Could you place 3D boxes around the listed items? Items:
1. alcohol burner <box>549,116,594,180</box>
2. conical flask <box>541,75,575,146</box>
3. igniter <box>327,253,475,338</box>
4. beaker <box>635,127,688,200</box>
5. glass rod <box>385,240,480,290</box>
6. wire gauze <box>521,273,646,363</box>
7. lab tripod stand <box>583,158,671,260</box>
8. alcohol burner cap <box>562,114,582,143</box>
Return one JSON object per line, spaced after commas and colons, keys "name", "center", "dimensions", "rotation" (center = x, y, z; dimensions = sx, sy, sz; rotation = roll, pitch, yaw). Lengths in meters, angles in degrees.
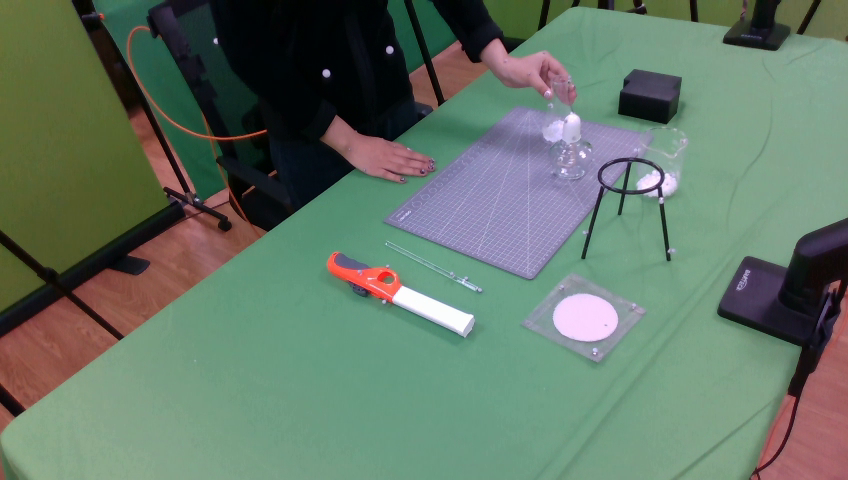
{"name": "alcohol burner", "center": [0.258, -0.166, 1.055], "dimensions": [0.078, 0.120, 0.077], "rotation": [-6, 42, 6]}
{"name": "conical flask", "center": [0.256, -0.245, 1.134], "dimensions": [0.075, 0.122, 0.075], "rotation": [-6, 41, 6]}
{"name": "igniter", "center": [-0.045, 0.077, 0.898], "dimensions": [0.274, 0.025, 0.057], "rotation": [22, 59, 32]}
{"name": "beaker", "center": [0.388, -0.122, 0.994], "dimensions": [0.074, 0.101, 0.083], "rotation": [-8, 40, 2]}
{"name": "glass rod", "center": [0.009, 0.037, 0.950], "dimensions": [0.198, 0.008, 0.008], "rotation": [26, 52, 34]}
{"name": "wire gauze", "center": [0.219, 0.105, 0.830], "dimensions": [0.120, 0.011, 0.125], "rotation": [28, 54, 37]}
{"name": "lab tripod stand", "center": [0.300, -0.046, 0.895], "dimensions": [0.148, 0.132, 0.147], "rotation": [-7, 38, 6]}
{"name": "alcohol burner cap", "center": [0.254, -0.192, 1.030], "dimensions": [0.034, 0.048, 0.033], "rotation": [-4, 50, 6]}
